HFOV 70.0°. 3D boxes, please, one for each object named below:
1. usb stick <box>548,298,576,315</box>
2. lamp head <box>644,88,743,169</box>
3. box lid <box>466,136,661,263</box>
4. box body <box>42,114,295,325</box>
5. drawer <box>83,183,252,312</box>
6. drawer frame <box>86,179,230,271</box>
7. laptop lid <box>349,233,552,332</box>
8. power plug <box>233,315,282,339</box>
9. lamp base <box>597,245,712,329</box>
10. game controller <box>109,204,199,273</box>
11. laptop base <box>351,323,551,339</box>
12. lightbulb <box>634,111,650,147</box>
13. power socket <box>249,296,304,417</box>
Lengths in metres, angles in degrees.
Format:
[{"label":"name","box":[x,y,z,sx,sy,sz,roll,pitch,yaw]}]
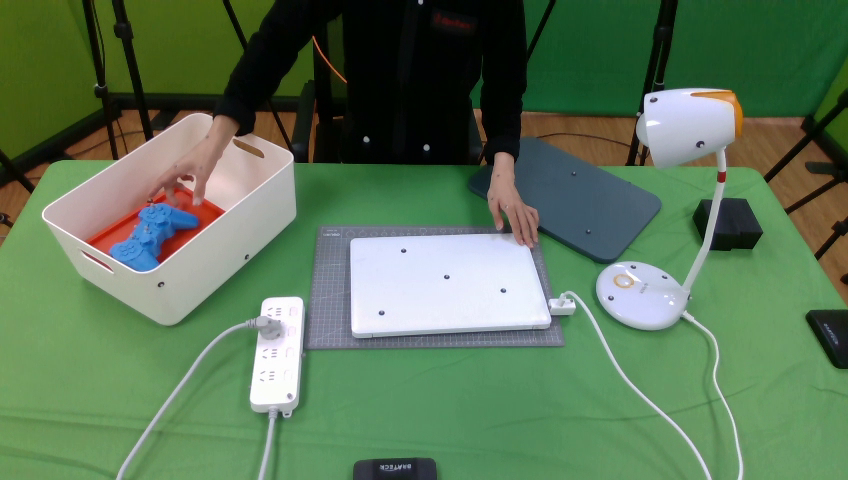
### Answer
[{"label":"usb stick","box":[0.240,0.119,1.086,0.059,0.027,0.021,-2,51,-2]},{"label":"lamp head","box":[0.380,-0.161,0.851,0.122,0.113,0.112,-4,42,25]},{"label":"box lid","box":[0.306,-0.102,1.327,0.370,0.015,0.263,32,52,25]},{"label":"box body","box":[-0.437,-0.046,1.110,0.253,0.161,0.363,24,49,19]},{"label":"drawer","box":[-0.458,0.007,1.098,0.194,0.073,0.211,29,48,21]},{"label":"drawer frame","box":[-0.453,0.010,1.100,0.201,0.083,0.213,28,55,23]},{"label":"laptop lid","box":[0.040,0.071,1.119,0.357,0.013,0.240,-1,44,-5]},{"label":"power plug","box":[-0.271,0.144,0.999,0.072,0.053,0.035,5,47,3]},{"label":"lamp base","box":[0.418,0.051,1.072,0.179,0.181,0.160,22,49,13]},{"label":"game controller","box":[-0.467,-0.005,1.044,0.097,0.052,0.154,8,45,10]},{"label":"laptop base","box":[0.040,0.081,1.125,0.355,0.023,0.234,-2,43,-6]},{"label":"lightbulb","box":[0.348,-0.163,0.852,0.059,0.060,0.107,-36,19,-32]},{"label":"power socket","box":[-0.239,0.182,0.996,0.072,0.033,0.225,-2,47,-5]}]
